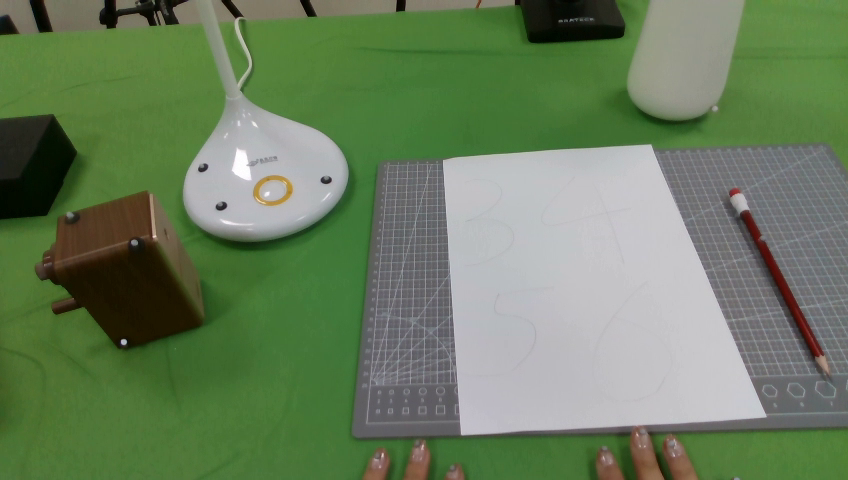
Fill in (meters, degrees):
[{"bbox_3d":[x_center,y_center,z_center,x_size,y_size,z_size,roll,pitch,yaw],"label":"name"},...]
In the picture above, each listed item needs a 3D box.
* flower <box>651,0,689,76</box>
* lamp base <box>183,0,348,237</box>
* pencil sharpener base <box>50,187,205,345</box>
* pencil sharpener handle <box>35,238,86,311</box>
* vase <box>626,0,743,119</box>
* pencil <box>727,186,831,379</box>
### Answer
[{"bbox_3d":[0.248,-0.259,0.517,0.044,0.364,0.038,40,75,18],"label":"flower"},{"bbox_3d":[-0.167,-0.122,0.549,0.161,0.182,0.177,-26,49,-18],"label":"lamp base"},{"bbox_3d":[-0.227,0.023,0.472,0.077,0.108,0.060,-18,50,-11],"label":"pencil sharpener base"},{"bbox_3d":[-0.276,0.030,0.454,0.031,0.068,0.035,-18,53,-10],"label":"pencil sharpener handle"},{"bbox_3d":[0.259,-0.220,0.592,0.098,0.202,0.097,-3,47,4],"label":"vase"},{"bbox_3d":[0.286,0.026,0.494,0.012,0.012,0.192,-4,50,1],"label":"pencil"}]
